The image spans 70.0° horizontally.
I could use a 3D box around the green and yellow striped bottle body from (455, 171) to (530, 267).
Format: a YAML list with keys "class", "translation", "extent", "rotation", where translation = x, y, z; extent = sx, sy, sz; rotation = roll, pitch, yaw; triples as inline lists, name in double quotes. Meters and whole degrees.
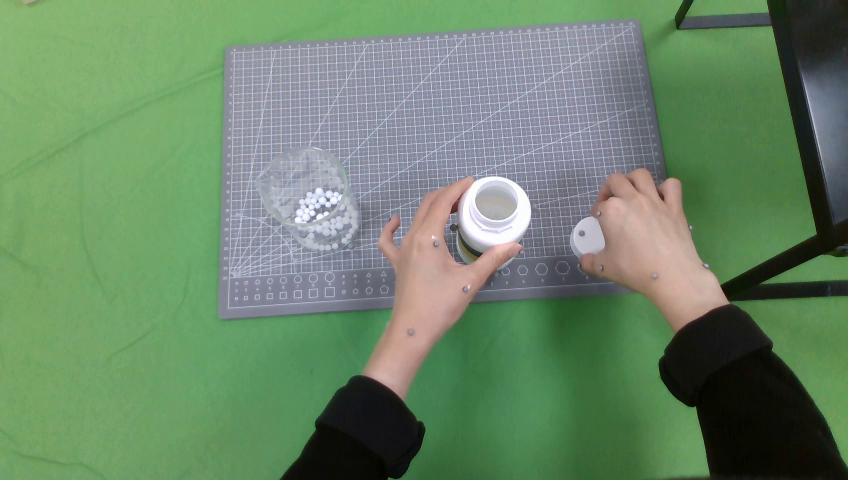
- class: "green and yellow striped bottle body"
  translation: [0.059, -0.019, 0.541]
  extent: [0.063, 0.120, 0.063]
  rotation: [0, 74, 2]

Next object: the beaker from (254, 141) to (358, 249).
- class: "beaker"
  translation: [-0.104, -0.037, 0.560]
  extent: [0.084, 0.101, 0.073]
  rotation: [7, 74, 4]

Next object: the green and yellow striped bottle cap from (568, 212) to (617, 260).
- class: "green and yellow striped bottle cap"
  translation: [0.164, -0.004, 0.587]
  extent: [0.045, 0.020, 0.045]
  rotation: [-1, 71, 3]
